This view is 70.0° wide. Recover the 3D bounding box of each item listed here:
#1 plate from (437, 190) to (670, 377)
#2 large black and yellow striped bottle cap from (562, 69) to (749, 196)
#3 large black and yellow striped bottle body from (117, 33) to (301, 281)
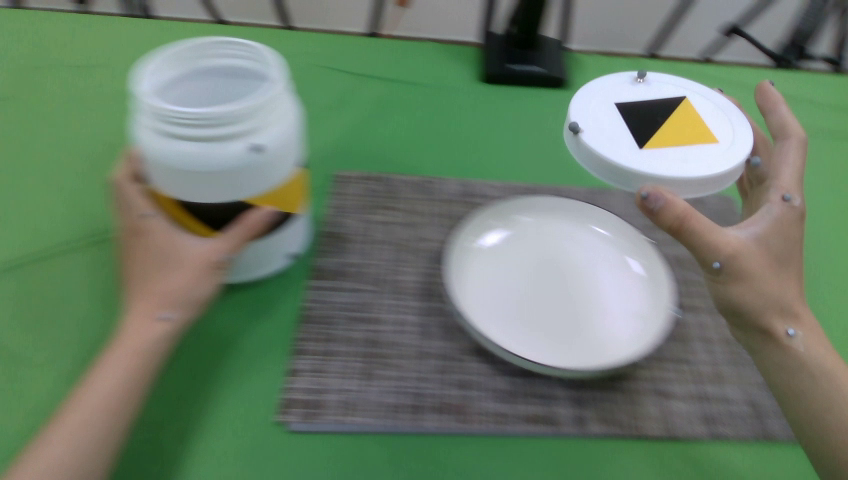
[{"bbox_3d":[0.114,0.037,0.550,0.208,0.039,0.205,3,47,-3],"label":"plate"},{"bbox_3d":[0.148,-0.073,0.392,0.115,0.019,0.114,1,48,-1],"label":"large black and yellow striped bottle cap"},{"bbox_3d":[-0.179,-0.068,0.522,0.131,0.185,0.129,3,47,-3],"label":"large black and yellow striped bottle body"}]
